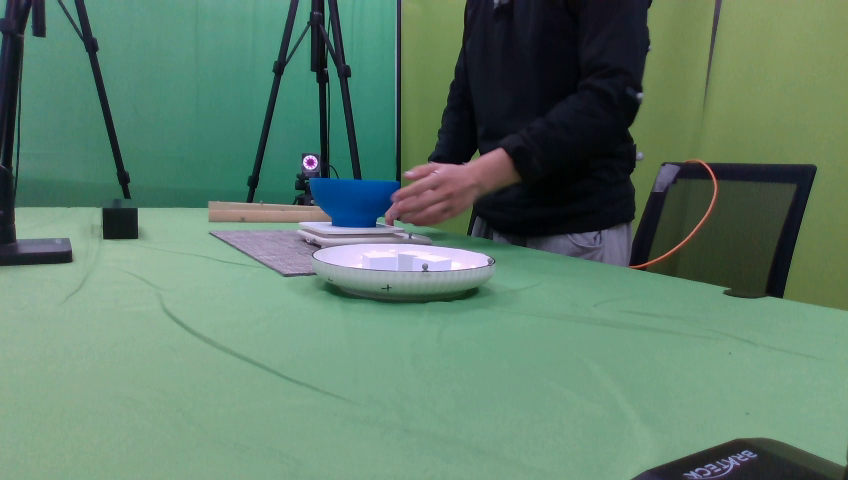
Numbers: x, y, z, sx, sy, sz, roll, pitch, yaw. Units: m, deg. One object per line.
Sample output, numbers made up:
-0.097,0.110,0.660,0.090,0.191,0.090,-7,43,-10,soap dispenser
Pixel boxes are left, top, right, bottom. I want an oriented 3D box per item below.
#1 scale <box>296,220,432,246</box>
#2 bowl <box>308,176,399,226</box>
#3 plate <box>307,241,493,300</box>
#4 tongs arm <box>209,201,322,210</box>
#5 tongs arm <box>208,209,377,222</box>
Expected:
-0.101,-0.012,1.017,0.202,0.031,0.148,-1,8,-30,scale
-0.116,-0.064,1.001,0.151,0.077,0.151,2,6,0,bowl
-0.027,0.034,0.684,0.208,0.039,0.207,2,7,0,plate
-0.306,-0.070,1.430,0.386,0.026,0.050,1,8,-15,tongs arm
-0.280,-0.056,1.355,0.389,0.028,0.028,-1,6,-28,tongs arm
